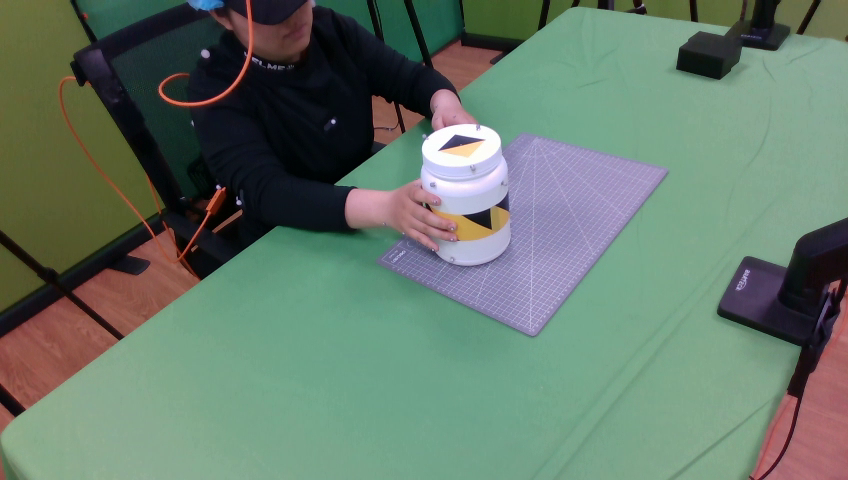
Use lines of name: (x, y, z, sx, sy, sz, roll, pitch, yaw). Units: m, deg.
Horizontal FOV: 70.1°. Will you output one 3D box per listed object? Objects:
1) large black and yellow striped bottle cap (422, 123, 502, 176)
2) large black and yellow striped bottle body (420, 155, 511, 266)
large black and yellow striped bottle cap: (0.055, -0.131, 0.866, 0.115, 0.019, 0.114, -5, 41, 5)
large black and yellow striped bottle body: (0.064, -0.067, 0.919, 0.131, 0.185, 0.130, -5, 40, 5)
